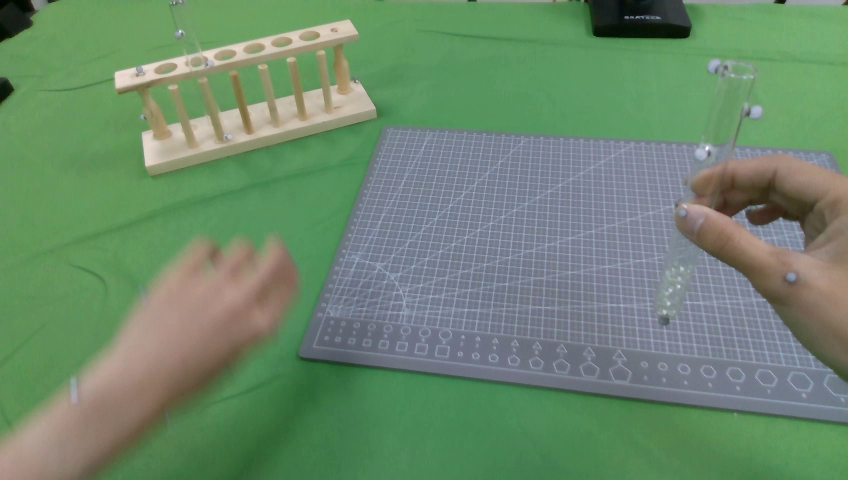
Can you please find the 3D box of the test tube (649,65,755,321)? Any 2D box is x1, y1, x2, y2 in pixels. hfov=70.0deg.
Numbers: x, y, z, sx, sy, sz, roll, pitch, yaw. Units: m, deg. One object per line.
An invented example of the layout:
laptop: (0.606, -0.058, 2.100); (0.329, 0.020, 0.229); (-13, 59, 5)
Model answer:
test tube: (0.134, -0.013, 0.303); (0.017, 0.151, 0.017); (-1, 40, 2)

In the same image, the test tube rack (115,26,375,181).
test tube rack: (-0.180, -0.146, 0.636); (0.243, 0.086, 0.066); (-18, 47, -13)

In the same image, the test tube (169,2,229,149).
test tube: (-0.214, -0.153, 0.582); (0.017, 0.152, 0.017); (-2, 43, 2)
